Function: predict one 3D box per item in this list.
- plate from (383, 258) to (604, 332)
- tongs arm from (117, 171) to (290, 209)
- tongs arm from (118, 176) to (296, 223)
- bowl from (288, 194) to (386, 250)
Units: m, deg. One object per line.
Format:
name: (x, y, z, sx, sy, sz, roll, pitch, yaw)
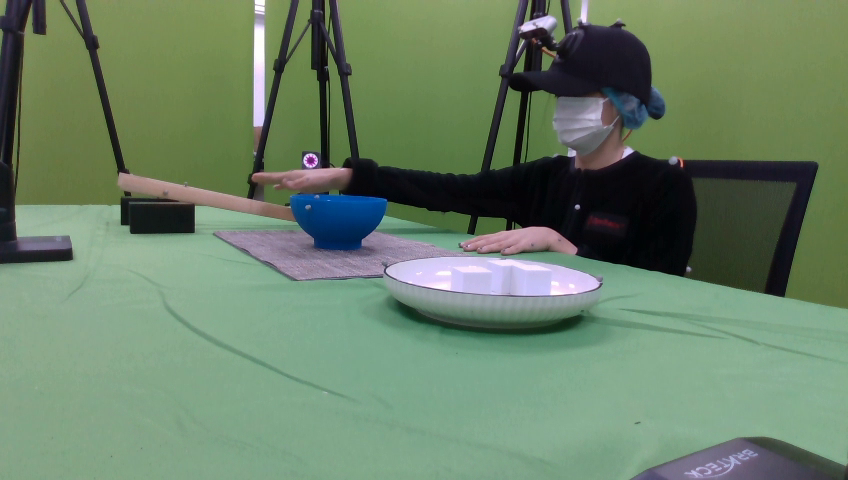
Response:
plate: (0.064, 0.051, 0.582, 0.209, 0.038, 0.209, 3, 7, 0)
tongs arm: (-0.388, -0.077, 1.181, 0.387, 0.026, 0.050, 12, 1, -24)
tongs arm: (-0.347, -0.064, 1.105, 0.390, 0.027, 0.028, 11, -2, -39)
bowl: (-0.135, -0.028, 0.936, 0.151, 0.077, 0.151, 3, 7, 0)
